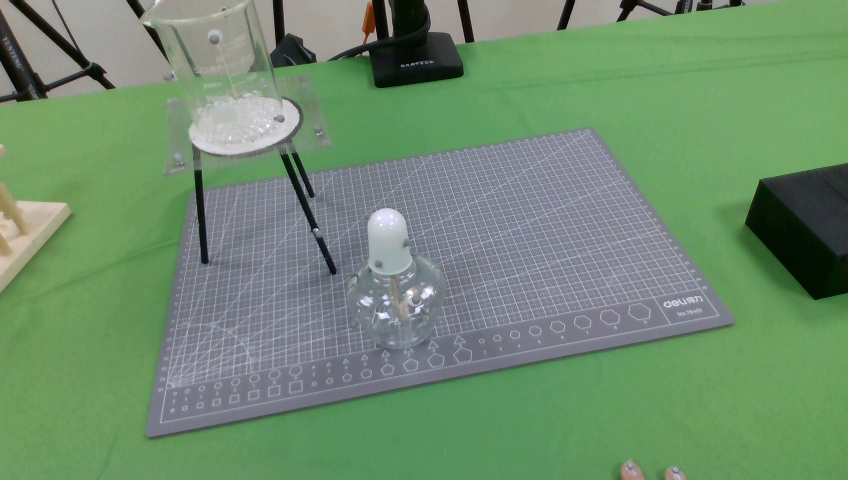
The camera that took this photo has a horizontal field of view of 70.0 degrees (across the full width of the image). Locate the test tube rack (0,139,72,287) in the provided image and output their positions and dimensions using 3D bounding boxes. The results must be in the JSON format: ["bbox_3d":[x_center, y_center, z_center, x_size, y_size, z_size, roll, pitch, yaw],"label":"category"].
[{"bbox_3d":[-0.425,0.013,0.529,0.066,0.086,0.240,4,43,9],"label":"test tube rack"}]

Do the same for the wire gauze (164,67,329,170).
[{"bbox_3d":[-0.145,-0.099,0.487,0.125,0.011,0.120,-16,42,-7],"label":"wire gauze"}]

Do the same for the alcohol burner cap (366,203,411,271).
[{"bbox_3d":[-0.027,-0.004,0.431,0.034,0.048,0.033,-1,40,2],"label":"alcohol burner cap"}]

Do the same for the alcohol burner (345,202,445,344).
[{"bbox_3d":[-0.024,0.022,0.456,0.078,0.120,0.077,-3,41,3],"label":"alcohol burner"}]

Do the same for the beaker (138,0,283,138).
[{"bbox_3d":[-0.153,-0.134,0.453,0.084,0.101,0.073,-14,43,-8],"label":"beaker"}]

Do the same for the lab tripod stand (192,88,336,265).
[{"bbox_3d":[-0.141,-0.052,0.531,0.148,0.133,0.147,-3,45,3],"label":"lab tripod stand"}]
